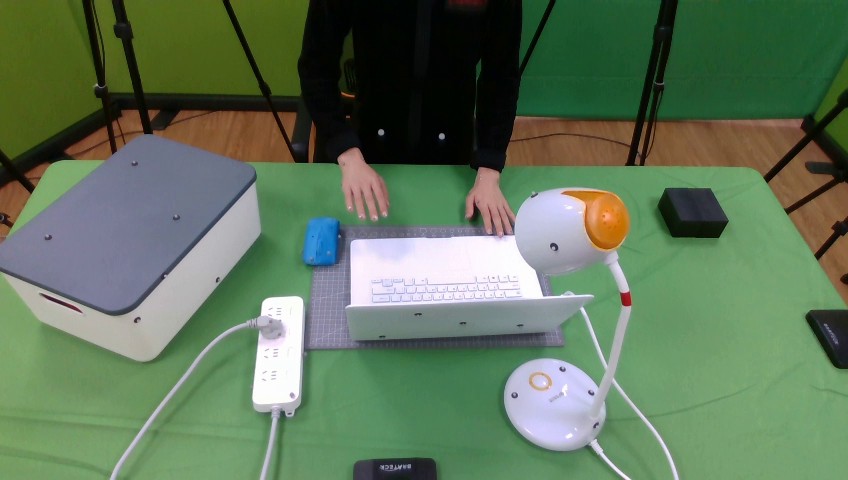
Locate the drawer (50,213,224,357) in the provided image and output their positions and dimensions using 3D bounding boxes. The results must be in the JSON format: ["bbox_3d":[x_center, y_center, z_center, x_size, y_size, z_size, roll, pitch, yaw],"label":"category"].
[{"bbox_3d":[-0.492,0.075,1.057,0.194,0.073,0.211,18,57,10],"label":"drawer"}]

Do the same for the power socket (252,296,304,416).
[{"bbox_3d":[-0.238,0.182,0.997,0.072,0.033,0.225,-3,47,-5],"label":"power socket"}]

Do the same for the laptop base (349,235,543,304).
[{"bbox_3d":[0.039,0.081,1.124,0.355,0.023,0.234,-2,43,-6],"label":"laptop base"}]

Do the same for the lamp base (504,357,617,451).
[{"bbox_3d":[0.220,0.211,0.902,0.160,0.181,0.178,-33,59,-30],"label":"lamp base"}]

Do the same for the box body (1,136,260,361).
[{"bbox_3d":[-0.482,0.006,1.056,0.254,0.161,0.362,17,47,12],"label":"box body"}]

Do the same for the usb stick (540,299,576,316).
[{"bbox_3d":[0.239,0.121,1.083,0.059,0.027,0.021,-1,51,-2],"label":"usb stick"}]

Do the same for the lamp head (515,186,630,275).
[{"bbox_3d":[0.188,-0.013,0.728,0.112,0.112,0.122,-25,9,-25],"label":"lamp head"}]

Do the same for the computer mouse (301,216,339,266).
[{"bbox_3d":[-0.199,-0.002,1.169,0.063,0.041,0.116,4,50,-3],"label":"computer mouse"}]

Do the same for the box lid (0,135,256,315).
[{"bbox_3d":[-0.480,-0.044,1.002,0.263,0.015,0.370,18,47,12],"label":"box lid"}]

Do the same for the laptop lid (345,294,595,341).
[{"bbox_3d":[0.059,0.124,0.934,0.357,0.242,0.013,-1,69,-7],"label":"laptop lid"}]

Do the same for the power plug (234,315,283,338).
[{"bbox_3d":[-0.269,0.143,1.000,0.072,0.053,0.035,4,47,2],"label":"power plug"}]
